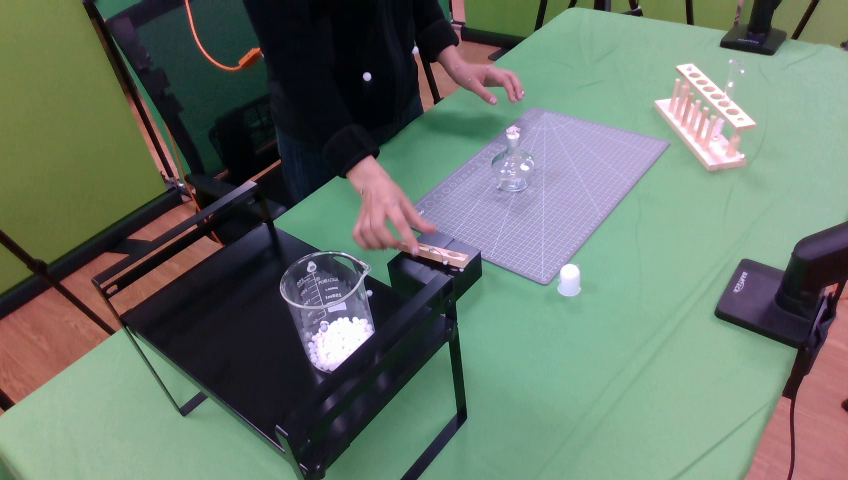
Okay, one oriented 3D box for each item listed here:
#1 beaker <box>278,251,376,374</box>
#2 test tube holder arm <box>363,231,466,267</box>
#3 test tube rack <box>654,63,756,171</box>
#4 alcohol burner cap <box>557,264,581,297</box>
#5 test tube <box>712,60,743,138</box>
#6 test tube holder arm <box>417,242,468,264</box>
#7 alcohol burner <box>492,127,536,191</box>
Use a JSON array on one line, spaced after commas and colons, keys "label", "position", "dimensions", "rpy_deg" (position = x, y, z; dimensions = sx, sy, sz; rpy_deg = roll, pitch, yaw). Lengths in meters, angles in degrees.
[{"label": "beaker", "position": [-0.084, 0.070, 0.570], "dimensions": [0.084, 0.101, 0.073], "rpy_deg": [-18, 42, -13]}, {"label": "test tube holder arm", "position": [-0.017, 0.012, 0.891], "dimensions": [0.177, 0.015, 0.013], "rpy_deg": [14, 29, 28]}, {"label": "test tube rack", "position": [0.510, -0.233, 1.120], "dimensions": [0.067, 0.085, 0.241], "rpy_deg": [-8, 41, -1]}, {"label": "alcohol burner cap", "position": [0.208, 0.055, 0.866], "dimensions": [0.034, 0.048, 0.033], "rpy_deg": [-4, 41, 4]}, {"label": "test tube", "position": [0.527, -0.242, 1.052], "dimensions": [0.017, 0.151, 0.017], "rpy_deg": [-3, 44, 3]}, {"label": "test tube holder arm", "position": [0.024, 0.019, 0.874], "dimensions": [0.087, 0.015, 0.010], "rpy_deg": [15, 29, 29]}, {"label": "alcohol burner", "position": [0.156, -0.146, 1.046], "dimensions": [0.078, 0.119, 0.077], "rpy_deg": [-4, 43, 4]}]
